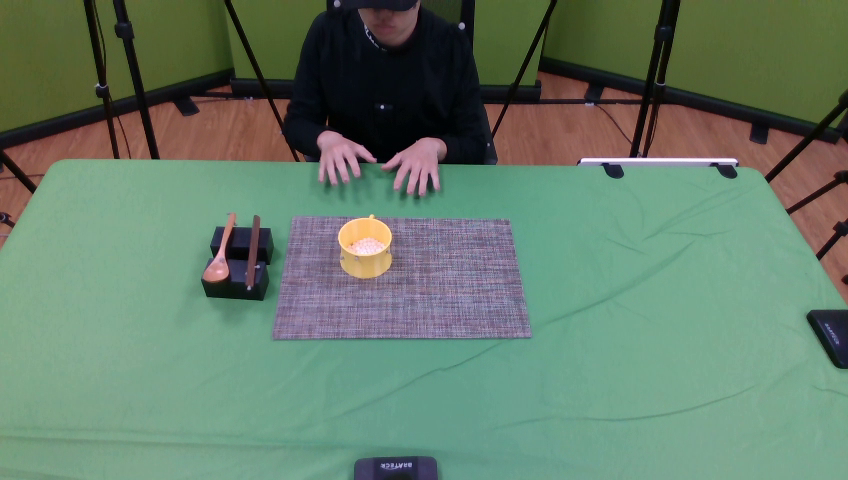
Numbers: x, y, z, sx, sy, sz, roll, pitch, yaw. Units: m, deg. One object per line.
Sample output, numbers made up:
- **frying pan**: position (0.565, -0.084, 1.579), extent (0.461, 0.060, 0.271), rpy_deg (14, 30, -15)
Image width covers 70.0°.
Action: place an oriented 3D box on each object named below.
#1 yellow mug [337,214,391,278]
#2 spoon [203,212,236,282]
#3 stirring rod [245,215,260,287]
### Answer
- **yellow mug**: position (-0.110, 0.003, 1.152), extent (0.100, 0.064, 0.130), rpy_deg (7, 45, 2)
- **spoon**: position (-0.361, 0.009, 1.097), extent (0.041, 0.022, 0.192), rpy_deg (-1, 44, -2)
- **stirring rod**: position (-0.310, 0.016, 1.096), extent (0.014, 0.006, 0.175), rpy_deg (27, 36, -32)
